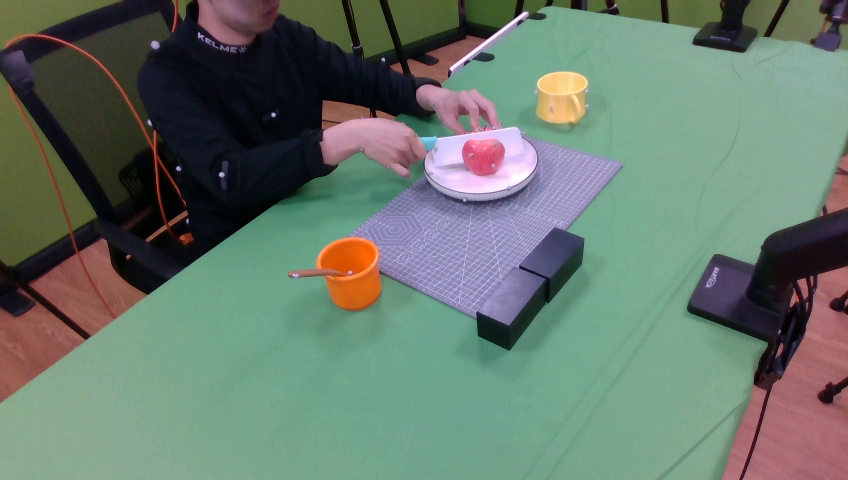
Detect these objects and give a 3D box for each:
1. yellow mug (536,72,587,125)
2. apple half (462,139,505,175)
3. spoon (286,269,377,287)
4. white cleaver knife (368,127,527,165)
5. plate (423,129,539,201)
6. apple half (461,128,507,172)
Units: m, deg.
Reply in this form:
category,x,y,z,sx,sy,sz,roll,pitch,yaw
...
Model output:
category,x,y,z,sx,sy,sz,roll,pitch,yaw
yellow mug,0.284,-0.281,1.222,0.100,0.064,0.130,-16,42,-9
apple half,0.105,-0.139,1.060,0.081,0.081,0.032,-1,41,8
spoon,-0.125,0.050,0.831,0.041,0.195,0.021,22,92,28
white cleaver knife,0.037,-0.158,1.070,0.286,0.066,0.021,-3,40,13
plate,0.102,-0.132,1.092,0.209,0.038,0.208,-4,40,4
apple half,0.109,-0.167,1.091,0.080,0.075,0.053,-4,35,12
